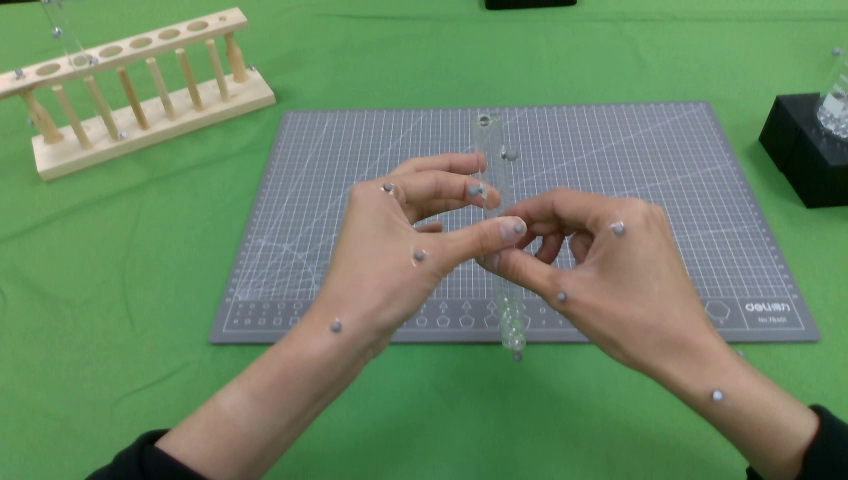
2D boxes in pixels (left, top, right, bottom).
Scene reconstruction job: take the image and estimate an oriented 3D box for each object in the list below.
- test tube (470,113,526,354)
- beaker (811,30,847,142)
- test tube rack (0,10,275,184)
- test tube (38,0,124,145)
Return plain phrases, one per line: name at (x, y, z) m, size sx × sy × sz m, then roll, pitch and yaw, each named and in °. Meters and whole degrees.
test tube at (0.043, 0.003, 0.340) m, size 0.017 × 0.151 × 0.017 m, roll -9°, pitch 27°, yaw 5°
beaker at (0.366, -0.136, 0.489) m, size 0.074 × 0.101 × 0.083 m, roll -21°, pitch 49°, yaw -15°
test tube rack at (-0.288, -0.150, 0.622) m, size 0.242 × 0.086 × 0.066 m, roll -24°, pitch 50°, yaw -18°
test tube at (-0.317, -0.153, 0.566) m, size 0.017 × 0.152 × 0.017 m, roll -2°, pitch 45°, yaw 2°
